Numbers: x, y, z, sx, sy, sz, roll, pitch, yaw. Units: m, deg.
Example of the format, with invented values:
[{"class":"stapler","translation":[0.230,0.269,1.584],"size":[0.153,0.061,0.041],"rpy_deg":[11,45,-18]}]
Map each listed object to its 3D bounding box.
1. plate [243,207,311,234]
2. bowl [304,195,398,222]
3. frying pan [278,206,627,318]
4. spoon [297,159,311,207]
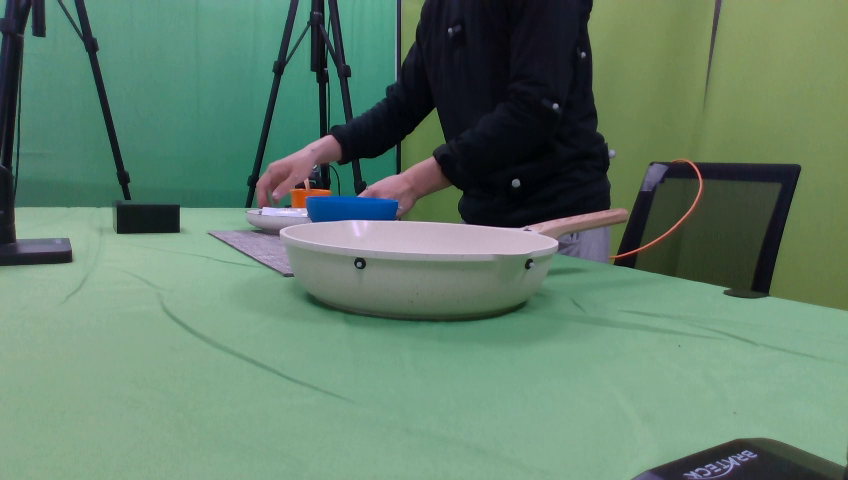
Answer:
[{"class":"plate","translation":[-0.235,-0.036,1.150],"size":[0.208,0.039,0.207],"rpy_deg":[2,7,0]},{"class":"bowl","translation":[-0.118,-0.030,0.973],"size":[0.151,0.077,0.151],"rpy_deg":[2,7,0]},{"class":"frying pan","translation":[0.079,0.002,0.705],"size":[0.490,0.102,0.305],"rpy_deg":[-12,15,-33]},{"class":"spoon","translation":[-0.260,-0.113,1.340],"size":[0.042,0.193,0.021],"rpy_deg":[0,-37,-25]}]
